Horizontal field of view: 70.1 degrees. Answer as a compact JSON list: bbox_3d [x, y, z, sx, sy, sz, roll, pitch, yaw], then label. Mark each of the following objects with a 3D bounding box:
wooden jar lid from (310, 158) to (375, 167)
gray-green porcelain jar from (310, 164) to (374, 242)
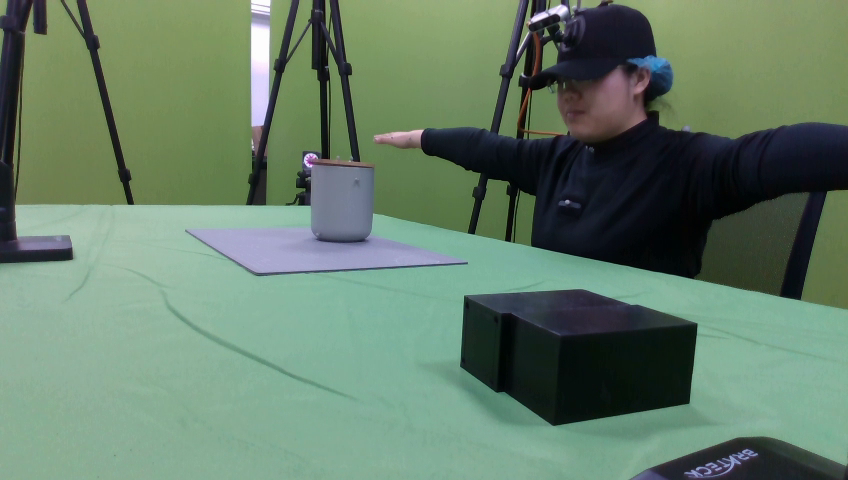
[{"bbox_3d":[-0.136,-0.125,1.015,0.108,0.020,0.108,4,8,0],"label":"wooden jar lid"},{"bbox_3d":[-0.139,-0.063,1.023,0.106,0.126,0.106,3,8,0],"label":"gray-green porcelain jar"}]
